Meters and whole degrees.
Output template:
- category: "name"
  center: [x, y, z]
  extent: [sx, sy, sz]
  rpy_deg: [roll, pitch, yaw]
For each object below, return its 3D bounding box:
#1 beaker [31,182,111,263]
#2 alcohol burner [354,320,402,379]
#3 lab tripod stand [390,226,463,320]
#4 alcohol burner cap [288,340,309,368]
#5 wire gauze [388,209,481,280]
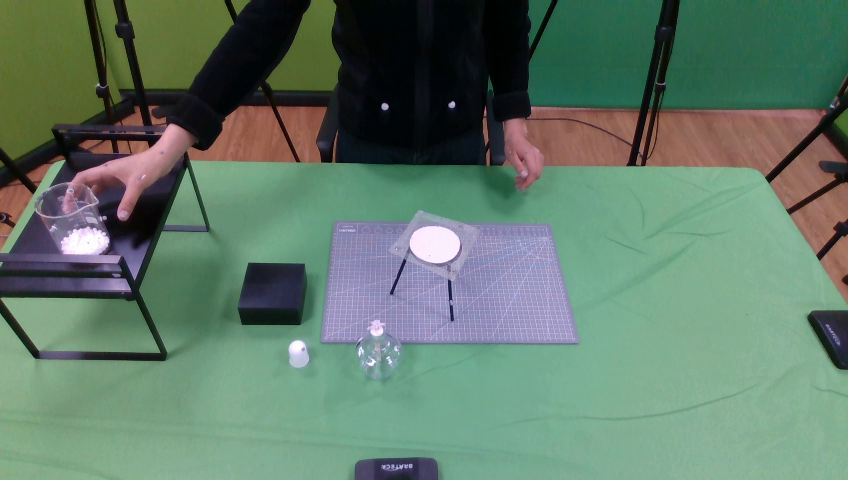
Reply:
- category: "beaker"
  center: [-0.502, -0.022, 0.877]
  extent: [0.084, 0.101, 0.073]
  rpy_deg: [-2, 47, -6]
- category: "alcohol burner"
  center: [-0.074, 0.169, 0.964]
  extent: [0.078, 0.120, 0.077]
  rpy_deg: [1, 46, -1]
- category: "lab tripod stand"
  center: [0.014, 0.053, 1.063]
  extent: [0.148, 0.132, 0.147]
  rpy_deg: [1, 48, -1]
- category: "alcohol burner cap"
  center: [-0.207, 0.183, 0.991]
  extent: [0.034, 0.048, 0.033]
  rpy_deg: [3, 47, -3]
- category: "wire gauze"
  center: [0.018, 0.002, 1.019]
  extent: [0.125, 0.011, 0.121]
  rpy_deg: [21, 49, 16]
